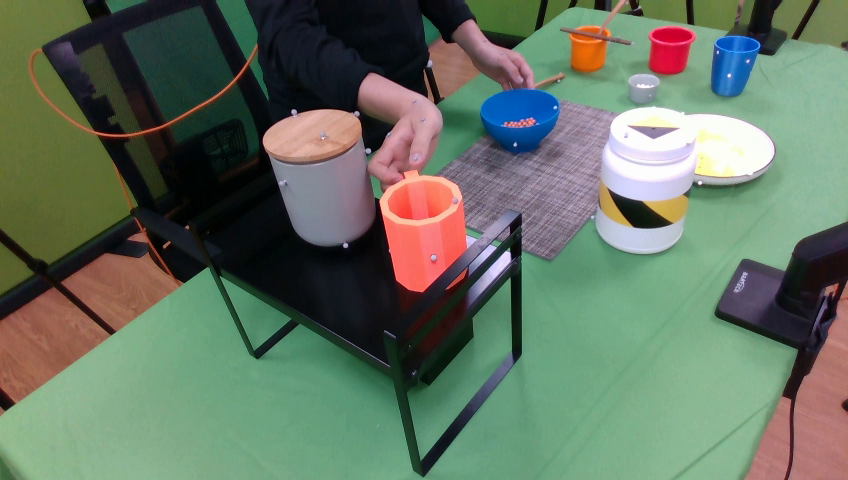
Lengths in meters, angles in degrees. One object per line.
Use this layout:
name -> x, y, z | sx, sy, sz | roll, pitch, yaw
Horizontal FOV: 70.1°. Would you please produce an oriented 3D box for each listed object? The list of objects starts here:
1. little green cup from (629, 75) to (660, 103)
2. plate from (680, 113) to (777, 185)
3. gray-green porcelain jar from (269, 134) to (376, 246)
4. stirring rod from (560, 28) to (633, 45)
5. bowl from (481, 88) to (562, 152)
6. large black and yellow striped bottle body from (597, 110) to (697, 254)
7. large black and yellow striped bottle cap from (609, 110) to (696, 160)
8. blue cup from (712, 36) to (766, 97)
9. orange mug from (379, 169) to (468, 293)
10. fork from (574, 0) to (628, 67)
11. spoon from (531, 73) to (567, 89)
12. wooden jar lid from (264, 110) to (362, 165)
little green cup -> 0.458, -0.314, 1.260 | 0.061, 0.039, 0.061 | -4, 40, 4
plate -> 0.506, -0.158, 1.073 | 0.209, 0.038, 0.208 | -5, 40, 4
gray-green porcelain jar -> -0.115, -0.064, 0.715 | 0.106, 0.127, 0.105 | -4, 40, 4
stirring rod -> 0.381, -0.453, 1.345 | 0.174, 0.006, 0.014 | 26, 51, 33
bowl -> 0.187, -0.222, 1.161 | 0.151, 0.077, 0.150 | -5, 40, 4
large black and yellow striped bottle body -> 0.331, -0.086, 0.904 | 0.131, 0.185, 0.130 | -5, 41, 4
large black and yellow striped bottle cap -> 0.319, -0.150, 0.849 | 0.115, 0.019, 0.114 | -4, 39, 3
blue cup -> 0.627, -0.350, 1.227 | 0.092, 0.100, 0.092 | -4, 39, 4
orange mug -> -0.002, -0.019, 0.665 | 0.083, 0.101, 0.125 | -12, 45, -4
fork -> 0.413, -0.481, 1.377 | 0.207, 0.019, 0.028 | -56, 43, 12
spoon -> 0.250, -0.337, 1.332 | 0.194, 0.022, 0.041 | -32, 31, -26
wooden jar lid -> -0.122, -0.112, 0.673 | 0.108, 0.021, 0.108 | -4, 37, 4
